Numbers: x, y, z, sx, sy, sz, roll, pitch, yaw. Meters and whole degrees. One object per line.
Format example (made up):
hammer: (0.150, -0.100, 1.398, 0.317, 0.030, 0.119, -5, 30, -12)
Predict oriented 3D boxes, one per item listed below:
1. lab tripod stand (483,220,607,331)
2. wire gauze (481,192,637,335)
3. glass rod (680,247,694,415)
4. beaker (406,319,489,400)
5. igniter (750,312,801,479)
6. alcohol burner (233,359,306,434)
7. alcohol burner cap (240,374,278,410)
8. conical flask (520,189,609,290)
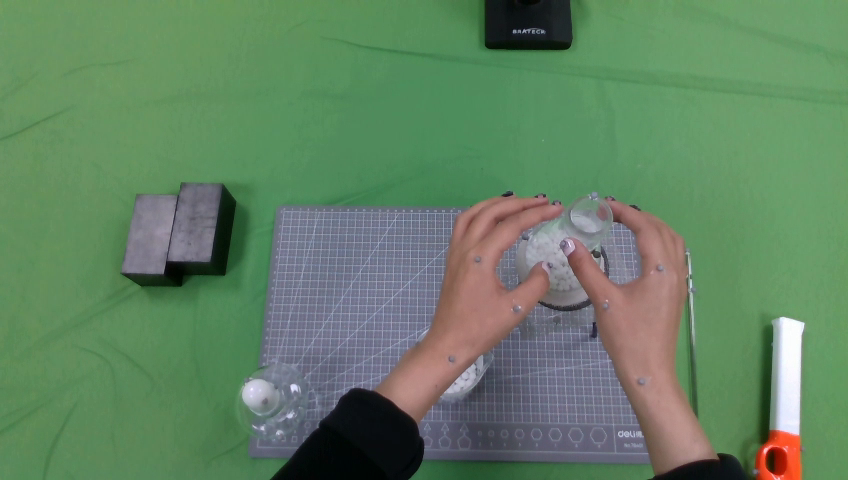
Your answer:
lab tripod stand: (0.134, 0.046, 0.656, 0.148, 0.132, 0.147, 0, 72, 1)
wire gauze: (0.132, 0.022, 0.595, 0.125, 0.011, 0.120, -14, 74, -6)
glass rod: (0.305, 0.101, 0.704, 0.008, 0.008, 0.198, 5, 70, 2)
beaker: (0.024, 0.130, 0.646, 0.084, 0.101, 0.073, -5, 70, -2)
igniter: (0.382, 0.213, 0.654, 0.057, 0.025, 0.275, 16, 71, -5)
alcohol burner: (-0.164, 0.160, 0.629, 0.078, 0.120, 0.077, 0, 71, -1)
alcohol burner cap: (-0.163, 0.147, 0.595, 0.034, 0.048, 0.033, 2, 69, -4)
conical flask: (0.131, -0.004, 0.541, 0.075, 0.122, 0.075, 0, 72, 1)
